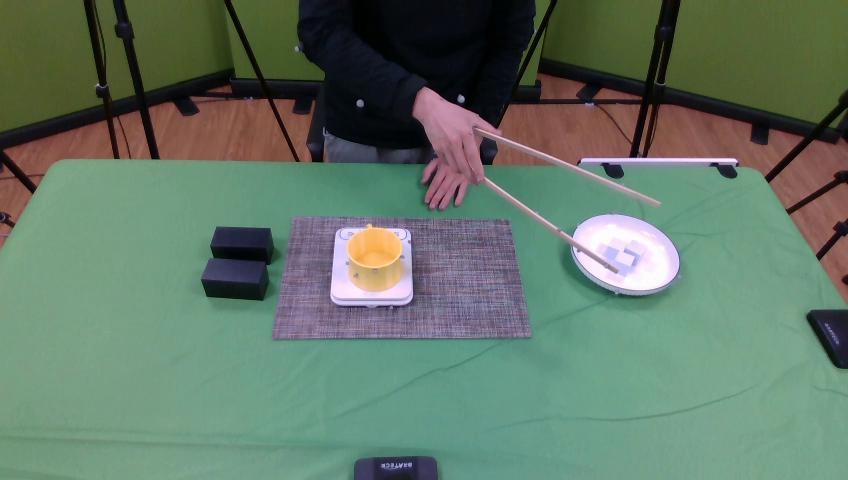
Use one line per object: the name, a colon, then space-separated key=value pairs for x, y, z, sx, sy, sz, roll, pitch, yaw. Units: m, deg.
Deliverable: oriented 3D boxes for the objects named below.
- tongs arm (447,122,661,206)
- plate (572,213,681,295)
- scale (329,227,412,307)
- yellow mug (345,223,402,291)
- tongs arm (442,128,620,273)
tongs arm: x=0.220 y=-0.134 z=1.050 sx=0.386 sy=0.028 sz=0.028 roll=24 pitch=84 yaw=14
plate: x=0.393 y=0.030 z=1.189 sx=0.208 sy=0.039 sz=0.206 roll=2 pitch=46 yaw=-2
scale: x=-0.099 y=0.042 z=1.139 sx=0.149 sy=0.032 sz=0.199 roll=1 pitch=46 yaw=-4
yellow mug: x=-0.092 y=0.022 z=1.093 sx=0.100 sy=0.064 sz=0.130 roll=-8 pitch=46 yaw=-10
tongs arm: x=0.179 y=-0.073 z=1.039 sx=0.383 sy=0.026 sz=0.050 roll=35 pitch=84 yaw=16
